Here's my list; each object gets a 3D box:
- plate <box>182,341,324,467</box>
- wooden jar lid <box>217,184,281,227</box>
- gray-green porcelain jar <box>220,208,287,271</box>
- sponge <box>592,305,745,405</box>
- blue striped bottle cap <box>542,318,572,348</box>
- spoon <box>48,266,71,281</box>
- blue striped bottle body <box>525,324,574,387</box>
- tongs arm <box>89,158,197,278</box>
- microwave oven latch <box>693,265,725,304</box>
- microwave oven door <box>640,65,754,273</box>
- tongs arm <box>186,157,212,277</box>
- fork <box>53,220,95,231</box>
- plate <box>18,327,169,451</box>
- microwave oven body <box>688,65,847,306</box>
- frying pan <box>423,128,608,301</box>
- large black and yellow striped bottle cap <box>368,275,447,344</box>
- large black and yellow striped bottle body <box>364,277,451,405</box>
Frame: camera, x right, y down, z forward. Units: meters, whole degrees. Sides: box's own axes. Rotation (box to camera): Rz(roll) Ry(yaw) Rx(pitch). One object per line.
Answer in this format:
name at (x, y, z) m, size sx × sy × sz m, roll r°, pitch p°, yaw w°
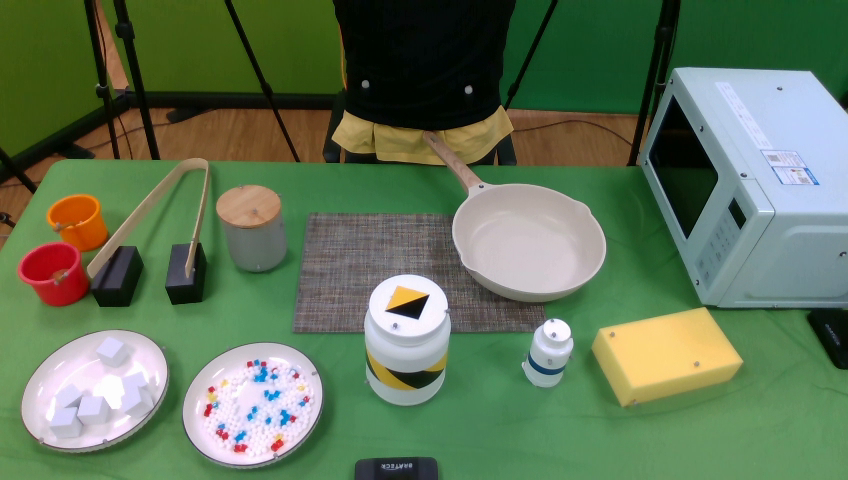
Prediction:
plate at (-0.258, 0.250, 0.927) m, size 0.209 × 0.038 × 0.208 m, roll 3°, pitch 46°, yaw -2°
wooden jar lid at (-0.307, -0.057, 1.067) m, size 0.108 × 0.021 × 0.107 m, roll 5°, pitch 44°, yaw -4°
gray-green porcelain jar at (-0.310, -0.014, 1.113) m, size 0.106 × 0.127 × 0.105 m, roll 1°, pitch 47°, yaw -1°
sponge at (0.405, 0.190, 1.014) m, size 0.207 × 0.061 × 0.117 m, roll -10°, pitch 48°, yaw -12°
blue striped bottle cap at (0.205, 0.143, 0.933) m, size 0.044 × 0.021 × 0.044 m, roll 0°, pitch 47°, yaw 0°
spoon at (-0.609, 0.057, 1.010) m, size 0.041 × 0.022 × 0.193 m, roll -33°, pitch 14°, yaw -27°
blue striped bottle body at (0.202, 0.179, 0.970) m, size 0.063 × 0.121 × 0.062 m, roll 2°, pitch 46°, yaw -2°
tongs arm at (-0.530, -0.057, 1.164) m, size 0.028 × 0.028 × 0.385 m, roll 1°, pitch 36°, yaw 8°
microwave oven latch at (0.523, 0.081, 1.116) m, size 0.030 × 0.029 × 0.078 m, roll 2°, pitch 46°, yaw -1°
microwave oven door at (0.522, -0.147, 1.193) m, size 0.039 × 0.245 × 0.353 m, roll 0°, pitch 47°, yaw -3°
tongs arm at (-0.445, -0.058, 1.168) m, size 0.051 × 0.026 × 0.382 m, roll -5°, pitch 37°, yaw -6°
fork at (-0.627, -0.027, 1.086) m, size 0.028 × 0.018 × 0.207 m, roll 0°, pitch 2°, yaw -15°
plate at (-0.498, 0.229, 0.929) m, size 0.208 × 0.039 × 0.206 m, roll 2°, pitch 47°, yaw -2°
microwave oven body at (0.669, -0.111, 1.176) m, size 0.326 × 0.261 × 0.439 m, roll 0°, pitch 46°, yaw -3°
frying pan at (0.142, -0.069, 1.208) m, size 0.307 × 0.103 × 0.485 m, roll -23°, pitch 60°, yaw -25°
large black and yellow striped bottle cap at (-0.024, 0.098, 0.871) m, size 0.115 × 0.019 × 0.114 m, roll 2°, pitch 45°, yaw -2°
large black and yellow striped bottle body at (-0.026, 0.155, 0.933) m, size 0.131 × 0.185 × 0.130 m, roll 2°, pitch 47°, yaw -2°
